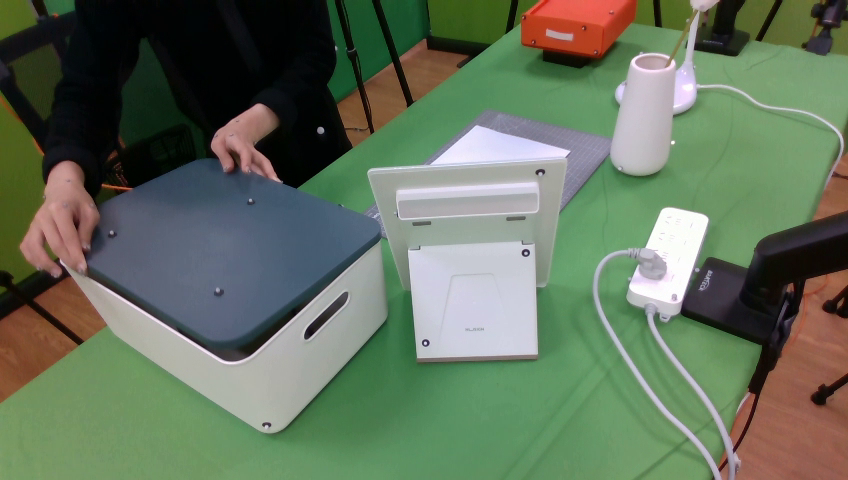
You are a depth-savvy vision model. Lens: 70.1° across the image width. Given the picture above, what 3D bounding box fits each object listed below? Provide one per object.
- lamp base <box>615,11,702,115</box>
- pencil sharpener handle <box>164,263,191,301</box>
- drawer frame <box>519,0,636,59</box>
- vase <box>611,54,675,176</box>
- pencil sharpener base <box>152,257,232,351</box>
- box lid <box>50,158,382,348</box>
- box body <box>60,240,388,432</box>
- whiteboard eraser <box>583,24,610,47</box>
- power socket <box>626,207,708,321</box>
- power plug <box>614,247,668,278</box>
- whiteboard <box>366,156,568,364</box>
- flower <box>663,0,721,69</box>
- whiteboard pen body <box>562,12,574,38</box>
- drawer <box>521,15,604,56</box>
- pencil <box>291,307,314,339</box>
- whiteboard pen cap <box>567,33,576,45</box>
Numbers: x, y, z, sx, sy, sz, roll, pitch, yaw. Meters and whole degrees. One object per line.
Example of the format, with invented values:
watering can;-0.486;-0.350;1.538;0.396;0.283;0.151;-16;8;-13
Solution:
lamp base;0.484;-0.364;1.211;0.180;0.181;0.159;-15;41;-14
pencil sharpener handle;-0.354;0.055;0.866;0.036;0.068;0.030;-17;39;-29
drawer frame;0.362;-0.518;1.423;0.200;0.083;0.214;19;48;29
vase;0.377;-0.209;1.031;0.098;0.201;0.097;-3;40;3
pencil sharpener base;-0.322;0.088;0.841;0.061;0.107;0.076;-28;44;-20
box lid;-0.264;-0.006;0.769;0.368;0.015;0.264;21;42;29
box body;-0.256;0.065;0.827;0.361;0.161;0.255;20;48;29
whiteboard eraser;0.407;-0.479;1.423;0.055;0.042;0.113;-3;9;21
power socket;0.359;0.025;0.886;0.072;0.033;0.227;16;46;26
power plug;0.306;0.031;0.851;0.072;0.053;0.035;24;49;33
whiteboard;0.059;0.050;0.738;0.217;0.307;0.143;-2;60;6
flower;0.379;-0.261;0.965;0.044;0.362;0.038;20;52;5
whiteboard pen body;0.342;-0.507;1.430;0.017;0.017;0.140;-2;41;6
drawer;0.359;-0.517;1.416;0.193;0.073;0.212;20;47;29
pencil;-0.187;0.105;0.880;0.012;0.012;0.192;-27;42;-22
whiteboard pen cap;0.339;-0.463;1.390;0.018;0.018;0.033;-2;44;6
